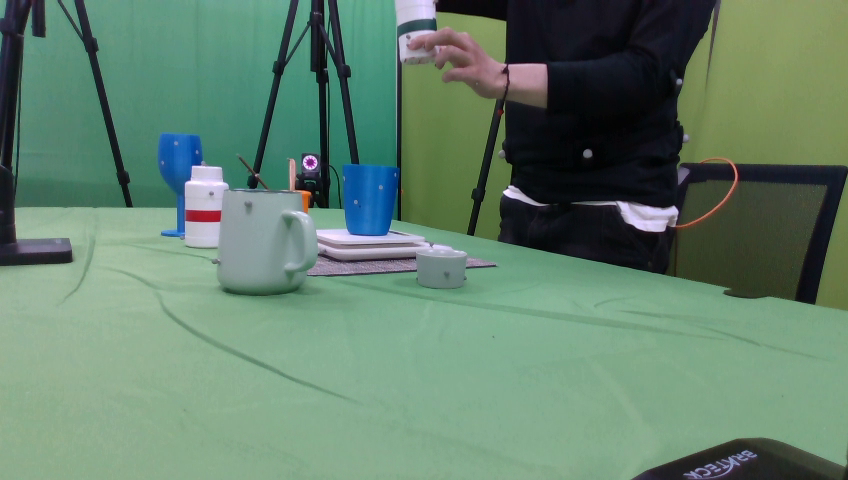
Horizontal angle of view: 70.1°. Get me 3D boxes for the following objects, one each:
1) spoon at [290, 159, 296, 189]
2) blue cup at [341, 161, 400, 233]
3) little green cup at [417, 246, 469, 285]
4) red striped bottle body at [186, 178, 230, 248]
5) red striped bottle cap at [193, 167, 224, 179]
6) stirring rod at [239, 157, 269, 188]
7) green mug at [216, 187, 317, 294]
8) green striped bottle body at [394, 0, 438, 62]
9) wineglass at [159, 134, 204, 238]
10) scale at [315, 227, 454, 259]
[{"bbox_3d":[-0.273,-0.102,1.252,0.042,0.193,0.021,7,-38,-17],"label":"spoon"},{"bbox_3d":[-0.080,-0.062,0.883,0.093,0.100,0.092,3,4,0],"label":"blue cup"},{"bbox_3d":[0.021,0.029,0.701,0.061,0.038,0.061,1,6,0],"label":"little green cup"},{"bbox_3d":[-0.331,-0.049,0.927,0.063,0.119,0.063,2,6,0],"label":"red striped bottle body"},{"bbox_3d":[-0.329,-0.103,0.921,0.044,0.017,0.044,0,9,0],"label":"red striped bottle cap"},{"bbox_3d":[-0.309,-0.098,1.209,0.006,0.177,0.014,-39,29,-4],"label":"stirring rod"},{"bbox_3d":[-0.157,0.000,0.629,0.124,0.105,0.093,7,9,37],"label":"green mug"},{"bbox_3d":[-0.013,-0.344,0.945,0.063,0.119,0.063,-6,6,1],"label":"green striped bottle body"},{"bbox_3d":[-0.415,-0.093,1.039,0.074,0.172,0.073,2,8,0],"label":"wineglass"},{"bbox_3d":[-0.066,0.001,0.906,0.202,0.031,0.148,-2,8,-31],"label":"scale"}]
